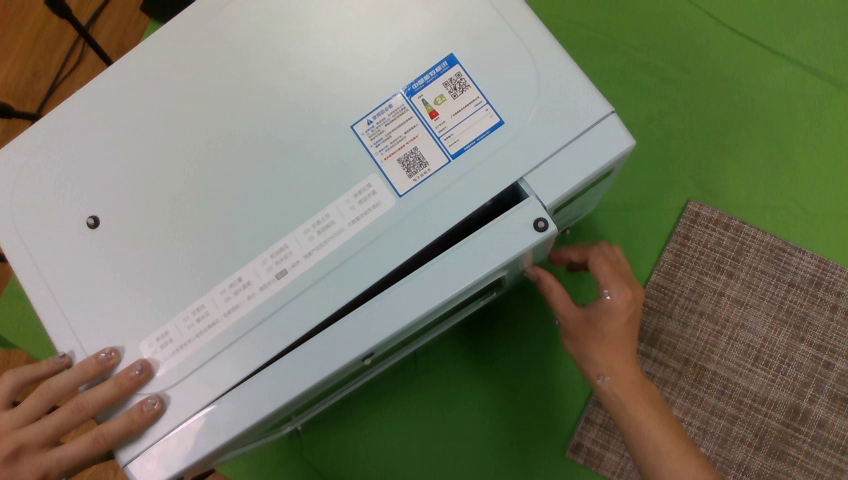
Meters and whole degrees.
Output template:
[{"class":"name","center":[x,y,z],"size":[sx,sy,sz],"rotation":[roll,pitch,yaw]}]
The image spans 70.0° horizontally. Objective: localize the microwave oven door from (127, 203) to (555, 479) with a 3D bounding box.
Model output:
[{"class":"microwave oven door","center":[-0.045,0.093,0.540],"size":[0.356,0.245,0.039],"rotation":[-33,78,3]}]

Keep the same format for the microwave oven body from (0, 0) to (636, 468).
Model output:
[{"class":"microwave oven body","center":[-0.099,-0.054,0.572],"size":[0.442,0.261,0.324],"rotation":[-36,79,3]}]

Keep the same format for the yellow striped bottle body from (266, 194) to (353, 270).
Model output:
[{"class":"yellow striped bottle body","center":[-0.109,-0.007,0.574],"size":[0.063,0.120,0.062],"rotation":[0,83,4]}]

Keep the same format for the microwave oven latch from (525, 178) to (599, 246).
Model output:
[{"class":"microwave oven latch","center":[0.143,-0.028,0.632],"size":[0.079,0.029,0.030],"rotation":[-35,79,3]}]
